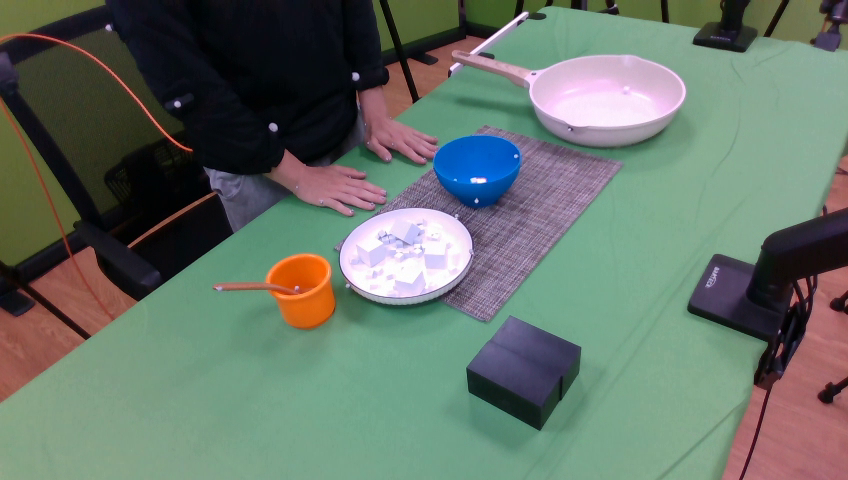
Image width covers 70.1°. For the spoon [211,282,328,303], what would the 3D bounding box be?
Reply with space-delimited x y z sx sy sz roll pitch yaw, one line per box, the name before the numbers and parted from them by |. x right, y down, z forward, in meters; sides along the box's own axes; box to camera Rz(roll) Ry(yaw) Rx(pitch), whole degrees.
spoon | -0.204 0.067 0.822 0.041 0.195 0.021 28 96 35

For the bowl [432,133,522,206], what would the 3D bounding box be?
bowl | 0.092 -0.110 1.034 0.151 0.077 0.150 -4 40 4

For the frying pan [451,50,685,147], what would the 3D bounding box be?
frying pan | 0.269 -0.316 1.233 0.485 0.103 0.307 26 49 21

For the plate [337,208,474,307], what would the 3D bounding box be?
plate | -0.026 0.028 0.921 0.207 0.039 0.206 -4 41 4
